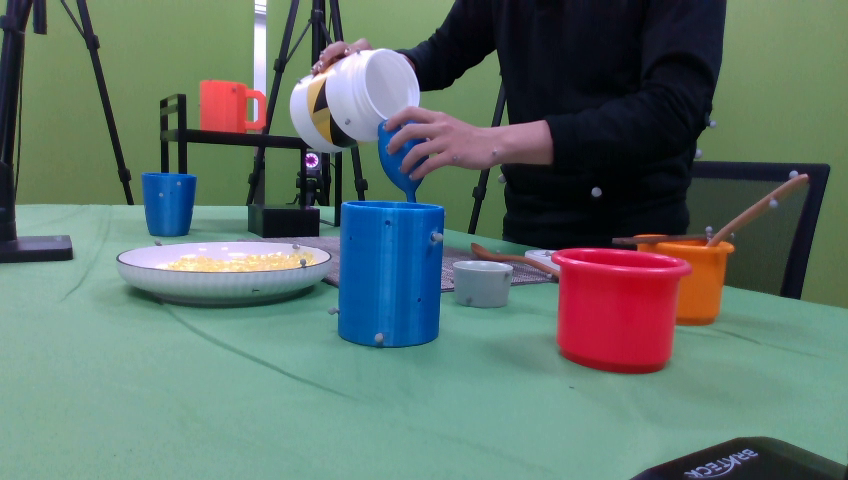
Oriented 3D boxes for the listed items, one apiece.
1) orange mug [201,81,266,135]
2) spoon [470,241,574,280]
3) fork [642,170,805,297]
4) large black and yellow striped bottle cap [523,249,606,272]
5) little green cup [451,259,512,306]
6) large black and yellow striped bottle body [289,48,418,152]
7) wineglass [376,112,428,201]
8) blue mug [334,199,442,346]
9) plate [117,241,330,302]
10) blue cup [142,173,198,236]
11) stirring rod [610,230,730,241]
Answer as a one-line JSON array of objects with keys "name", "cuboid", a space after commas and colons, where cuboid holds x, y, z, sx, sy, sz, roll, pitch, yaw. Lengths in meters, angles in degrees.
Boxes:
[{"name": "orange mug", "cuboid": [-0.377, -0.260, 1.198, 0.126, 0.101, 0.083, -3, 8, -6]}, {"name": "spoon", "cuboid": [0.124, 0.025, 0.800, 0.042, 0.021, 0.192, 22, -5, -34]}, {"name": "fork", "cuboid": [0.261, 0.004, 0.545, 0.028, 0.018, 0.207, 5, -37, -15]}, {"name": "large black and yellow striped bottle cap", "cuboid": [0.198, 0.028, 0.851, 0.115, 0.019, 0.115, 5, 5, 0]}, {"name": "little green cup", "cuboid": [0.057, 0.043, 0.611, 0.061, 0.038, 0.061, 3, 8, 0]}, {"name": "large black and yellow striped bottle body", "cuboid": [-0.109, -0.216, 0.938, 0.131, 0.130, 0.183, -5, -2, -44]}, {"name": "wineglass", "cuboid": [-0.023, -0.086, 0.845, 0.074, 0.172, 0.074, -10, -8, -1]}, {"name": "blue mug", "cuboid": [-0.034, 0.020, 0.498, 0.083, 0.106, 0.116, 0, 7, -20]}, {"name": "plate", "cuboid": [-0.203, 0.031, 0.630, 0.209, 0.038, 0.209, 3, 7, 0]}, {"name": "blue cup", "cuboid": [-0.425, -0.060, 1.014, 0.093, 0.100, 0.092, 4, 9, 0]}, {"name": "stirring rod", "cuboid": [0.241, -0.005, 0.581, 0.177, 0.006, 0.014, -3, 10, -34]}]
